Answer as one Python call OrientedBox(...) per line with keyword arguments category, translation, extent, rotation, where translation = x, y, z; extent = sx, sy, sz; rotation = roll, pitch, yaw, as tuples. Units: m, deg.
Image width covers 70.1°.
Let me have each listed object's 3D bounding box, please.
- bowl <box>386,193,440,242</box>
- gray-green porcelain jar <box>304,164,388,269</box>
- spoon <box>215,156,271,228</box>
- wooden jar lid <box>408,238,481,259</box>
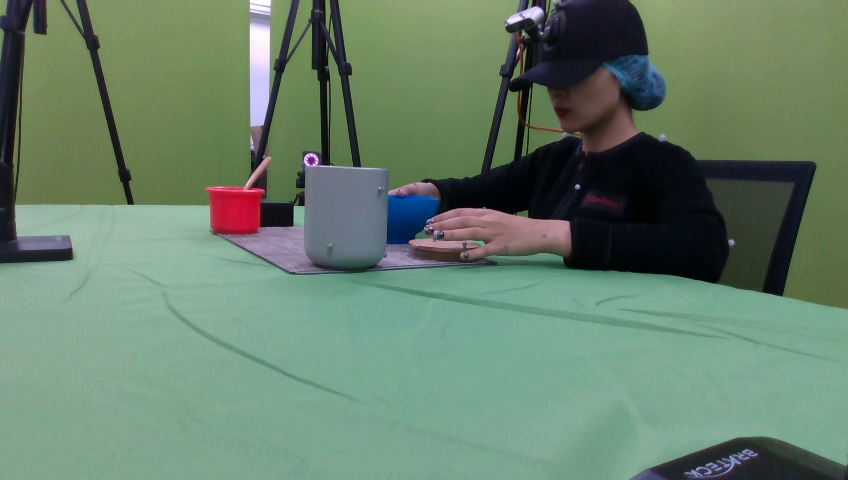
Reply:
OrientedBox(category="bowl", translation=(-0.050, -0.038, 1.033), extent=(0.151, 0.077, 0.151), rotation=(3, 7, 0))
OrientedBox(category="gray-green porcelain jar", translation=(-0.099, -0.031, 0.770), extent=(0.106, 0.126, 0.106), rotation=(2, 7, 0))
OrientedBox(category="spoon", translation=(-0.319, -0.090, 1.091), extent=(0.041, 0.022, 0.193), rotation=(7, 52, 17))
OrientedBox(category="wooden jar lid", translation=(0.031, 0.012, 0.895), extent=(0.108, 0.020, 0.108), rotation=(2, 8, 0))
